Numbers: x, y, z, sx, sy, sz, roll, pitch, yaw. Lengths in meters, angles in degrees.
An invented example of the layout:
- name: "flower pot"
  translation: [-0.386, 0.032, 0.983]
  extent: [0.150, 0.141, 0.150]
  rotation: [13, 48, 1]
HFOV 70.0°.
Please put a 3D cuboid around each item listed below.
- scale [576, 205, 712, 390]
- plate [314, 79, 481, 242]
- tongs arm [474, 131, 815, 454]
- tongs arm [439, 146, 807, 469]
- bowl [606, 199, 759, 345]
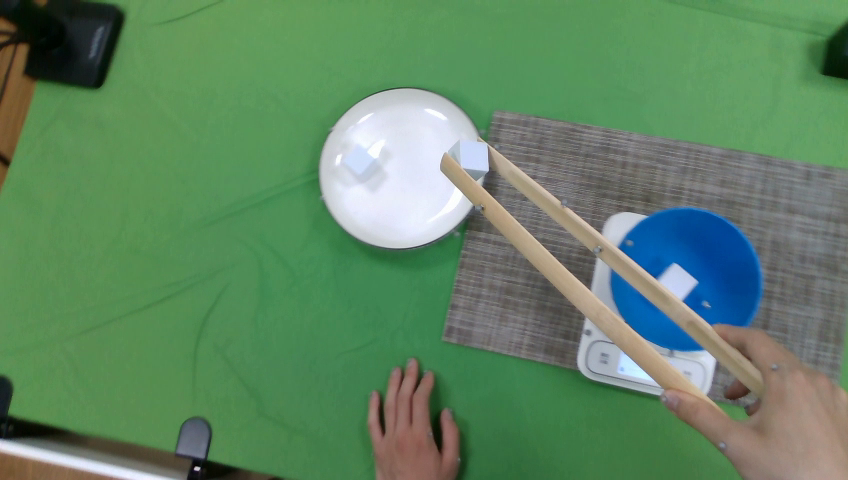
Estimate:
- name: "scale"
  translation: [0.266, 0.066, 0.702]
  extent: [0.148, 0.032, 0.200]
  rotation: [12, 82, 7]
- name: "plate"
  translation: [-0.032, -0.097, 0.757]
  extent: [0.207, 0.039, 0.207]
  rotation: [-1, 81, 5]
- name: "tongs arm"
  translation: [0.160, 0.027, 0.523]
  extent: [0.051, 0.027, 0.381]
  rotation: [-32, 61, -28]
- name: "tongs arm"
  translation: [0.138, 0.039, 0.511]
  extent: [0.028, 0.028, 0.384]
  rotation: [-27, 59, -30]
- name: "bowl"
  translation: [0.266, 0.038, 0.653]
  extent: [0.151, 0.077, 0.151]
  rotation: [-1, 81, 4]
